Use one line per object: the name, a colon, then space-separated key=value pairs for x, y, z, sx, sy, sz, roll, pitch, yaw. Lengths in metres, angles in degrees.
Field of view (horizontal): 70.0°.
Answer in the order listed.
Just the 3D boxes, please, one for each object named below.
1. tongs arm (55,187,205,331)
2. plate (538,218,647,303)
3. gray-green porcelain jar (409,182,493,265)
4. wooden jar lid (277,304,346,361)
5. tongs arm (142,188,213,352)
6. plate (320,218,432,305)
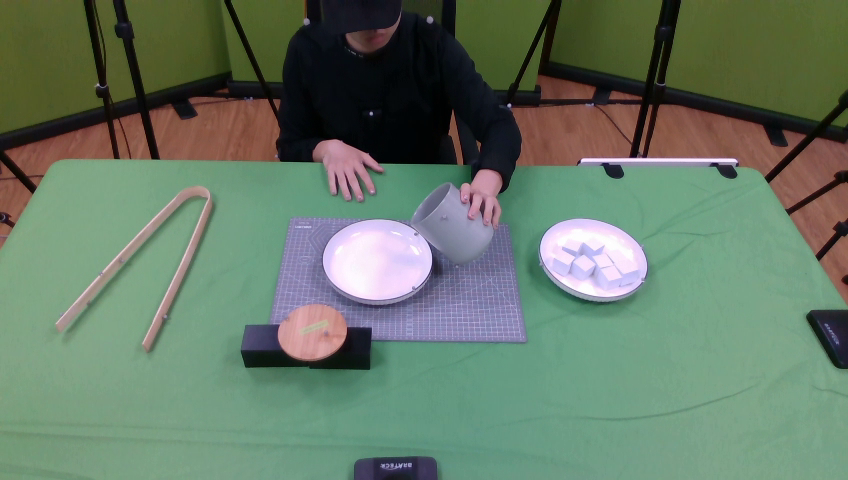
tongs arm: x=-0.530 y=0.022 z=1.125 sx=0.051 sy=0.026 sz=0.383 roll=15 pitch=46 yaw=8
plate: x=0.322 y=0.043 z=1.171 sx=0.208 sy=0.039 sz=0.206 roll=2 pitch=46 yaw=-2
gray-green porcelain jar: x=0.054 y=-0.026 z=1.099 sx=0.127 sy=0.106 sz=0.105 roll=42 pitch=45 yaw=-17
wooden jar lid: x=-0.179 y=0.150 z=0.972 sx=0.108 sy=0.021 sz=0.107 roll=2 pitch=45 yaw=-2
tongs arm: x=-0.449 y=0.040 z=1.122 sx=0.028 sy=0.028 sz=0.385 roll=2 pitch=46 yaw=1
plate: x=-0.089 y=0.044 z=1.134 sx=0.209 sy=0.038 sz=0.208 roll=2 pitch=46 yaw=-2
